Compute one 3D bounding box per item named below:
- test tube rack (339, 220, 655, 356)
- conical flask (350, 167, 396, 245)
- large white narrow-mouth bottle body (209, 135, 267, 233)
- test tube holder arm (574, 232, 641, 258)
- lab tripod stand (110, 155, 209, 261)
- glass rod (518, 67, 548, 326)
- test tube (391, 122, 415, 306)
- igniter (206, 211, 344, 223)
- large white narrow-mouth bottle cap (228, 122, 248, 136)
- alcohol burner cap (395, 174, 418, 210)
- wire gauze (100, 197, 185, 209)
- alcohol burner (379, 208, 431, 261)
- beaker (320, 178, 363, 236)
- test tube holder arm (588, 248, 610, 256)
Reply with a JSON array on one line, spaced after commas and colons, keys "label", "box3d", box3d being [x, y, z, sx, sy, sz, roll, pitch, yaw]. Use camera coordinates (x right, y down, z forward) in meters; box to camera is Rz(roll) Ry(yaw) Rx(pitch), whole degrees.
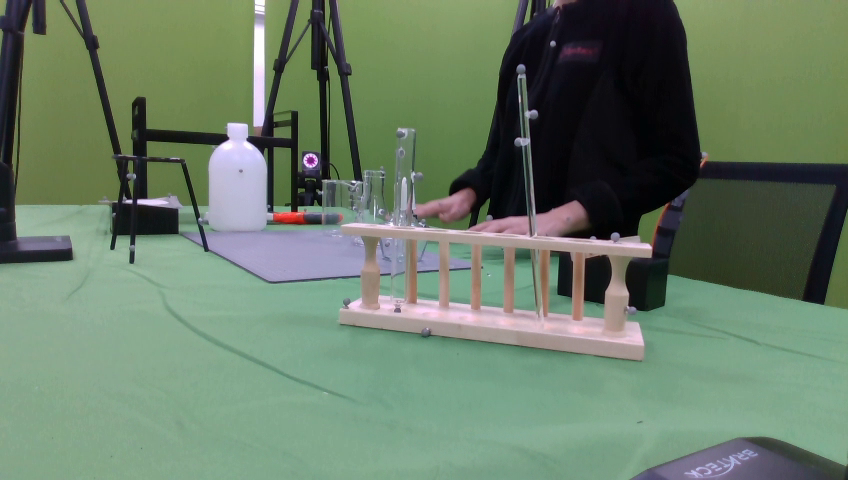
[{"label": "test tube rack", "box3d": [0.056, 0.032, 0.495, 0.242, 0.085, 0.067, 4, 7, 15]}, {"label": "conical flask", "box3d": [-0.081, -0.055, 0.976, 0.075, 0.122, 0.075, 2, 8, 0]}, {"label": "large white narrow-mouth bottle body", "box3d": [-0.340, -0.115, 1.109, 0.102, 0.194, 0.102, 2, 8, 0]}, {"label": "test tube holder arm", "box3d": [0.202, 0.003, 0.651, 0.013, 0.015, 0.179, -3, 2, 36]}, {"label": "lab tripod stand", "box3d": [-0.361, -0.046, 0.806, 0.148, 0.131, 0.148, 2, 5, 0]}, {"label": "glass rod", "box3d": [0.084, -0.029, 0.460, 0.008, 0.199, 0.008, -7, 11, 2]}, {"label": "test tube", "box3d": [-0.017, -0.019, 0.488, 0.017, 0.150, 0.017, 2, 12, 0]}, {"label": "igniter", "box3d": [-0.302, -0.048, 1.249, 0.278, 0.025, 0.057, -2, -2, -26]}, {"label": "large white narrow-mouth bottle cap", "box3d": [-0.338, -0.200, 1.097, 0.038, 0.024, 0.037, 2, 8, 0]}, {"label": "alcohol burner cap", "box3d": [-0.026, -0.067, 0.834, 0.034, 0.048, 0.034, -2, 12, 1]}, {"label": "wire gauze", "box3d": [-0.469, -0.062, 1.008, 0.126, 0.011, 0.121, -2, 8, -25]}, {"label": "alcohol burner", "box3d": [-0.027, -0.031, 0.838, 0.078, 0.119, 0.078, 0, 6, 0]}, {"label": "beaker", "box3d": [-0.145, -0.059, 1.079, 0.074, 0.100, 0.083, -4, 10, -36]}, {"label": "test tube holder arm", "box3d": [0.180, 0.006, 0.611, 0.010, 0.015, 0.088, -3, 2, 36]}]
